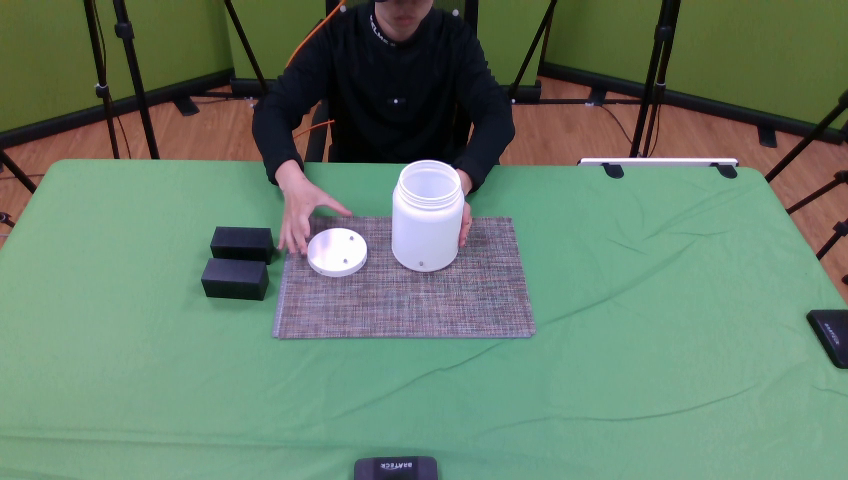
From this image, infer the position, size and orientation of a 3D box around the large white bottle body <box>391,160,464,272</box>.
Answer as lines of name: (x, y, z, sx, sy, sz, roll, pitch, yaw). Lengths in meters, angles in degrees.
large white bottle body: (0.005, -0.045, 1.123, 0.131, 0.185, 0.130, 2, 47, -2)

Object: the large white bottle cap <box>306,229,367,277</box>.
large white bottle cap: (-0.168, 0.023, 1.163, 0.115, 0.018, 0.114, 1, 46, -1)
